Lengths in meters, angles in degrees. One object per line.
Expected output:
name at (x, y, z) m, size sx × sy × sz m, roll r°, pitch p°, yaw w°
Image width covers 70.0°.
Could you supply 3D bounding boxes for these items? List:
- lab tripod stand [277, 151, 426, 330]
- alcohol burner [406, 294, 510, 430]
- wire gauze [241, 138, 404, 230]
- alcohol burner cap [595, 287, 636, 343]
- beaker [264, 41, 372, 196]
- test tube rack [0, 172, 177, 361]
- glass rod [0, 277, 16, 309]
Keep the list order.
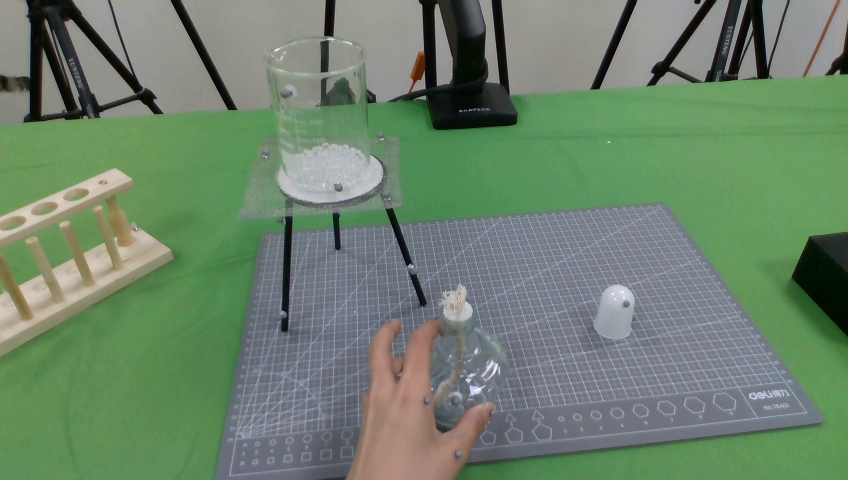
lab tripod stand at (-0.069, -0.001, 0.535) m, size 0.148 × 0.132 × 0.147 m, roll 1°, pitch 36°, yaw 0°
alcohol burner at (0.025, 0.082, 0.440) m, size 0.078 × 0.120 × 0.077 m, roll 0°, pitch 39°, yaw 0°
wire gauze at (-0.079, -0.052, 0.493) m, size 0.121 × 0.011 × 0.124 m, roll -3°, pitch 40°, yaw -3°
alcohol burner cap at (0.167, 0.062, 0.522) m, size 0.034 × 0.048 × 0.033 m, roll -1°, pitch 38°, yaw 1°
beaker at (-0.080, -0.092, 0.465) m, size 0.083 × 0.101 × 0.074 m, roll 20°, pitch 42°, yaw 23°
test tube rack at (-0.357, 0.034, 0.540) m, size 0.066 × 0.086 × 0.242 m, roll 26°, pitch 45°, yaw 31°
glass rod at (-0.380, -0.024, 0.508) m, size 0.008 × 0.201 × 0.008 m, roll 0°, pitch 30°, yaw 1°
